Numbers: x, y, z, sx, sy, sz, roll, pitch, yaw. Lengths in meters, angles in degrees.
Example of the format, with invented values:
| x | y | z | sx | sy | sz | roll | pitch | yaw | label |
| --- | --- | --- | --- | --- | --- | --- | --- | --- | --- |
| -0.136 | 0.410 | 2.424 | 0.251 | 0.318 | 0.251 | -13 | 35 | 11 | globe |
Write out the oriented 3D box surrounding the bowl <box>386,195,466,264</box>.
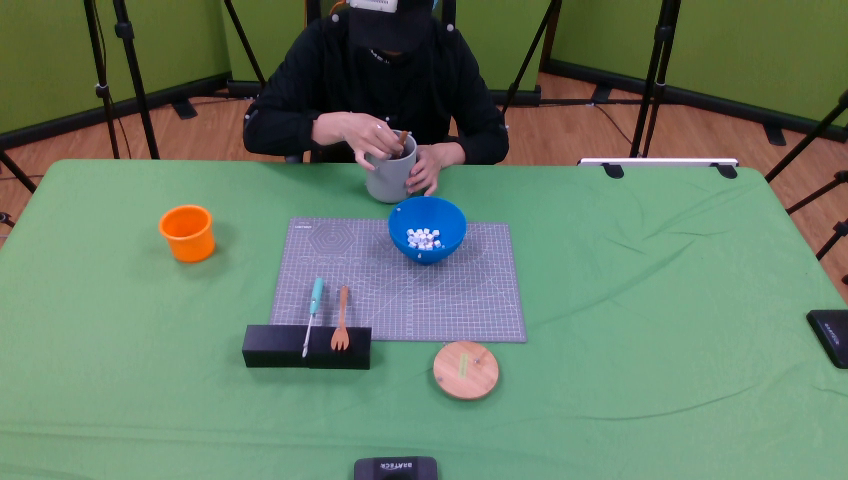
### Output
| x | y | z | sx | sy | sz | roll | pitch | yaw | label |
| --- | --- | --- | --- | --- | --- | --- | --- | --- | --- |
| 0.002 | -0.007 | 1.162 | 0.151 | 0.077 | 0.150 | 2 | 46 | -2 | bowl |

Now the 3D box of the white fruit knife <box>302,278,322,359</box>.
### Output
| x | y | z | sx | sy | sz | roll | pitch | yaw | label |
| --- | --- | --- | --- | --- | --- | --- | --- | --- | --- |
| -0.189 | 0.126 | 1.020 | 0.016 | 0.027 | 0.206 | 0 | 33 | -2 | white fruit knife |

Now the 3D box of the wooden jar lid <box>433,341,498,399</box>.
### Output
| x | y | z | sx | sy | sz | roll | pitch | yaw | label |
| --- | --- | --- | --- | --- | --- | --- | --- | --- | --- |
| 0.068 | 0.216 | 0.997 | 0.108 | 0.021 | 0.107 | 1 | 46 | -1 | wooden jar lid |

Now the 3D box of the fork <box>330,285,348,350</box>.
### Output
| x | y | z | sx | sy | sz | roll | pitch | yaw | label |
| --- | --- | --- | --- | --- | --- | --- | --- | --- | --- |
| -0.140 | 0.127 | 1.021 | 0.028 | 0.019 | 0.206 | -5 | 28 | -2 | fork |

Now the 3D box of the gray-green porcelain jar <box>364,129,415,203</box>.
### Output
| x | y | z | sx | sy | sz | roll | pitch | yaw | label |
| --- | --- | --- | --- | --- | --- | --- | --- | --- | --- |
| -0.072 | -0.150 | 1.264 | 0.106 | 0.127 | 0.105 | 2 | 46 | -2 | gray-green porcelain jar |
